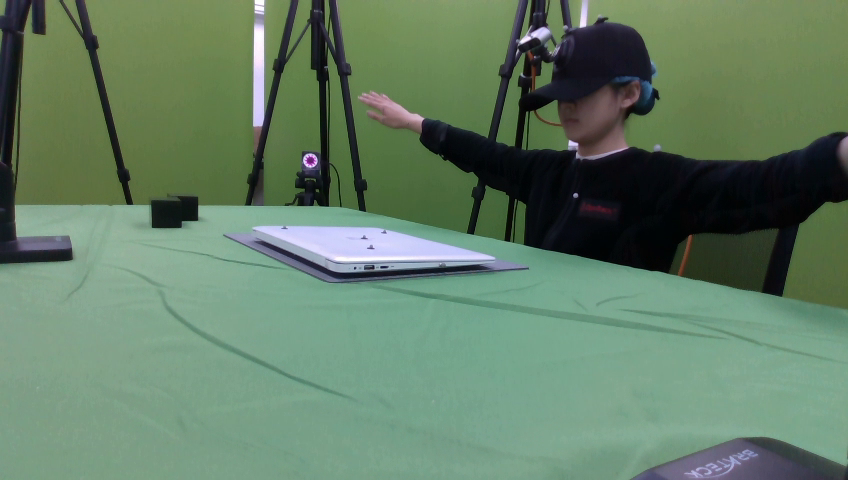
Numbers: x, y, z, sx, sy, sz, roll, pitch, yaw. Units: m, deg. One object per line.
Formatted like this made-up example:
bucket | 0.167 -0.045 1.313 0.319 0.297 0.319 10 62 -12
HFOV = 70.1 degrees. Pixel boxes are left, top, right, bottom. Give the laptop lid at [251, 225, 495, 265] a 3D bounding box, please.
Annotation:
laptop lid | -0.090 0.004 0.883 0.243 0.013 0.355 1 7 -31

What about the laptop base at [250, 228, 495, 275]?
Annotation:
laptop base | -0.093 0.015 0.884 0.237 0.023 0.352 3 6 -32
